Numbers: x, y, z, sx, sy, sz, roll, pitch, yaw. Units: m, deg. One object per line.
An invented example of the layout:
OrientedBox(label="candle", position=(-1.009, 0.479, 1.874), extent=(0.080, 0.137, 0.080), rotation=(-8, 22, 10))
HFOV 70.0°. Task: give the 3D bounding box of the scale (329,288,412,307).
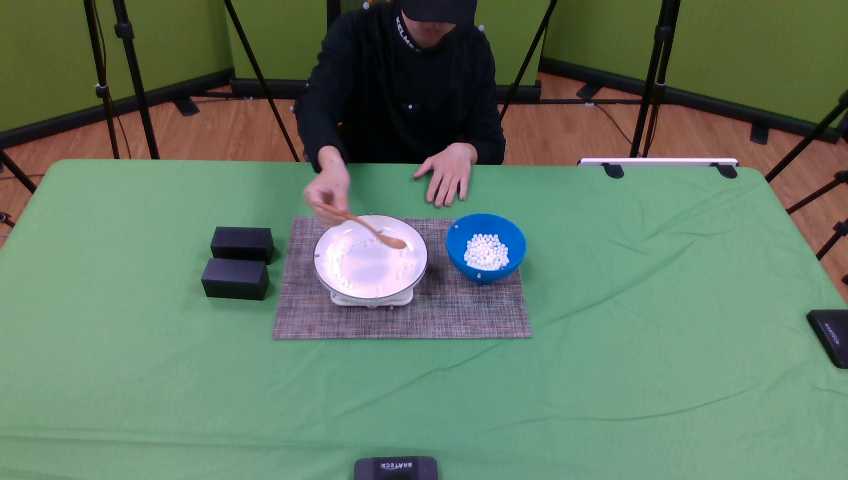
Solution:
OrientedBox(label="scale", position=(-0.098, 0.042, 1.139), extent=(0.149, 0.032, 0.199), rotation=(1, 46, -4))

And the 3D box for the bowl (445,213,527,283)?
OrientedBox(label="bowl", position=(0.111, 0.028, 1.137), extent=(0.151, 0.077, 0.150), rotation=(2, 46, -2))

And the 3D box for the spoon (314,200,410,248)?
OrientedBox(label="spoon", position=(-0.103, -0.028, 1.037), extent=(0.195, 0.021, 0.041), rotation=(30, 15, -32))

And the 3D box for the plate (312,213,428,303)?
OrientedBox(label="plate", position=(-0.097, 0.036, 1.100), extent=(0.209, 0.038, 0.208), rotation=(2, 46, -2))
